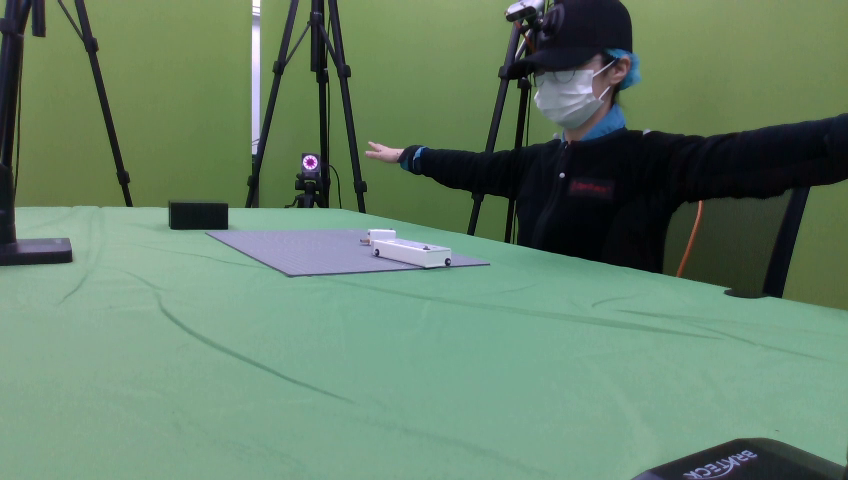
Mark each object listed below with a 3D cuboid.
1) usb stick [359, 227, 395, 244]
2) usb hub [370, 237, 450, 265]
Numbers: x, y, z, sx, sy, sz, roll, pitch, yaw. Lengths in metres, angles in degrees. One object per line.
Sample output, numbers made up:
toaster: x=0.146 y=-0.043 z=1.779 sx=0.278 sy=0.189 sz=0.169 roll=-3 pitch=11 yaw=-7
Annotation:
usb stick: x=-0.079 y=-0.007 z=1.009 sx=0.059 sy=0.027 sz=0.021 roll=-3 pitch=10 yaw=-19
usb hub: x=-0.022 y=0.014 z=0.861 sx=0.050 sy=0.025 sz=0.124 roll=-5 pitch=9 yaw=-41
